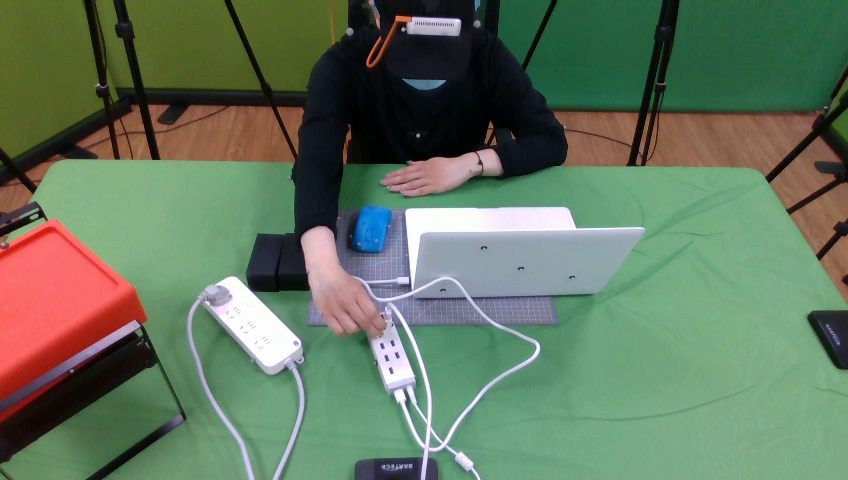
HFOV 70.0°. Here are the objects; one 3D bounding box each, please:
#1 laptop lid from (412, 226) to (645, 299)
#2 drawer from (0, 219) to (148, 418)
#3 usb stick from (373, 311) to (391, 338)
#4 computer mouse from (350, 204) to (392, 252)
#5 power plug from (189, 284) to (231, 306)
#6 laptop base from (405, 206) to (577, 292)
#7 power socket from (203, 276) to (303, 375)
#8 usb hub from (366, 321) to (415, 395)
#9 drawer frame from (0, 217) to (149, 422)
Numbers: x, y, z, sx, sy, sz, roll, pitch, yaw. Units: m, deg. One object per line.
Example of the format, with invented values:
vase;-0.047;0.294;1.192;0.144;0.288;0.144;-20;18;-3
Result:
laptop lid;0.161;0.043;1.012;0.357;0.242;0.013;0;59;-7
drawer;-0.509;0.093;0.783;0.193;0.073;0.211;32;53;24
usb stick;-0.070;0.144;1.008;0.027;0.059;0.021;-11;52;-19
computer mouse;-0.104;-0.027;1.202;0.063;0.041;0.116;11;51;3
power plug;-0.367;0.100;1.037;0.072;0.053;0.035;-24;53;-27
laptop base;0.143;0.018;1.196;0.355;0.023;0.234;-1;43;-6
power socket;-0.296;0.141;1.034;0.072;0.033;0.225;-34;58;-30
usb hub;-0.056;0.194;1.007;0.049;0.025;0.124;-12;49;-16
drawer frame;-0.510;0.093;0.780;0.201;0.083;0.213;31;52;23
